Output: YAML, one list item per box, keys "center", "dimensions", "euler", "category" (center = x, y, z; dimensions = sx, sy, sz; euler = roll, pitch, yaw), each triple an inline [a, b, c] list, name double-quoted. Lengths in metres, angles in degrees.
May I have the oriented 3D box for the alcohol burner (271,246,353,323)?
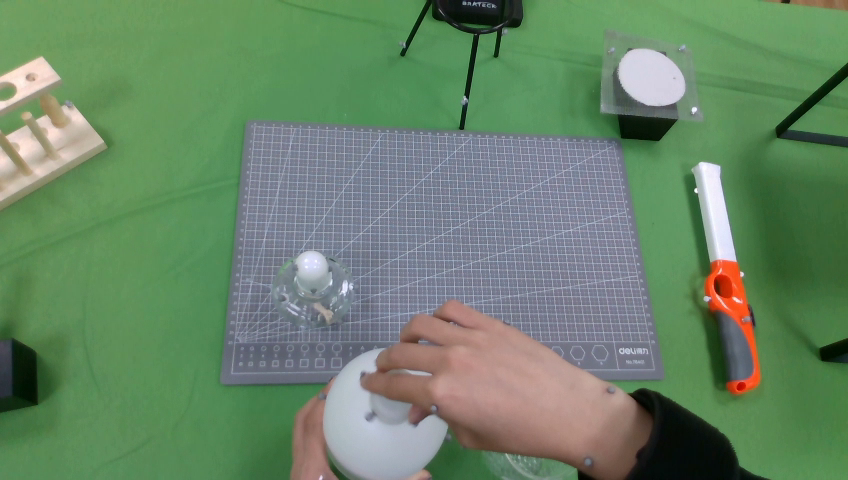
- center: [-0.105, 0.036, 0.568]
  dimensions: [0.078, 0.119, 0.077]
  euler: [4, 65, -9]
  category: "alcohol burner"

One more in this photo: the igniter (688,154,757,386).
- center: [0.337, 0.027, 0.689]
  dimensions: [0.057, 0.025, 0.274]
  euler: [8, 67, -17]
  category: "igniter"

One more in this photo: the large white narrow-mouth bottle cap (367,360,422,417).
- center: [-0.021, 0.102, 0.417]
  dimensions: [0.038, 0.024, 0.037]
  euler: [3, 66, -7]
  category: "large white narrow-mouth bottle cap"

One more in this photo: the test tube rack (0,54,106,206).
- center: [-0.447, -0.072, 0.580]
  dimensions: [0.242, 0.085, 0.066]
  euler: [-39, 77, -21]
  category: "test tube rack"

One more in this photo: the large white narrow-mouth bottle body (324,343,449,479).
- center: [-0.032, 0.139, 0.495]
  dimensions: [0.102, 0.195, 0.101]
  euler: [3, 66, -6]
  category: "large white narrow-mouth bottle body"

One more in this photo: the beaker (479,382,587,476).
- center: [0.091, 0.175, 0.550]
  dimensions: [0.084, 0.101, 0.073]
  euler: [7, 66, -5]
  category: "beaker"

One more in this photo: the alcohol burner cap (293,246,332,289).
- center: [-0.100, 0.023, 0.535]
  dimensions: [0.034, 0.048, 0.033]
  euler: [2, 71, -4]
  category: "alcohol burner cap"

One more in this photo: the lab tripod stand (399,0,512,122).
- center: [0.044, -0.234, 0.698]
  dimensions: [0.149, 0.132, 0.147]
  euler: [4, 67, -9]
  category: "lab tripod stand"

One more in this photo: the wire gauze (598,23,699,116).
- center: [0.270, -0.206, 0.735]
  dimensions: [0.121, 0.011, 0.124]
  euler: [8, 66, -5]
  category: "wire gauze"
